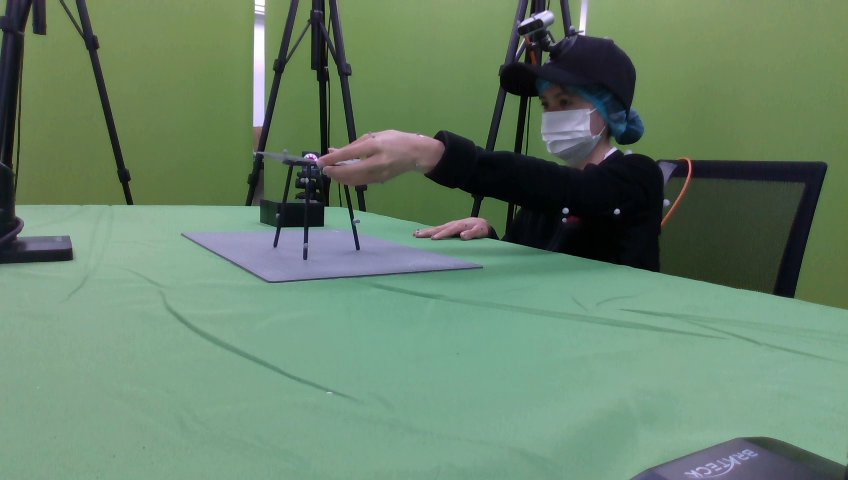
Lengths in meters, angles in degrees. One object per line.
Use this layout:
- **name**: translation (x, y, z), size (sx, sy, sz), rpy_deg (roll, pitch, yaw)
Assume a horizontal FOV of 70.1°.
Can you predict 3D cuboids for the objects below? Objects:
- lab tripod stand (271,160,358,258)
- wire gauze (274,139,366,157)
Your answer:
- **lab tripod stand**: translation (-0.159, -0.048, 0.876), size (0.148, 0.131, 0.148), rpy_deg (3, 5, 0)
- **wire gauze**: translation (-0.153, -0.130, 0.869), size (0.122, 0.011, 0.124), rpy_deg (-3, 1, -15)
